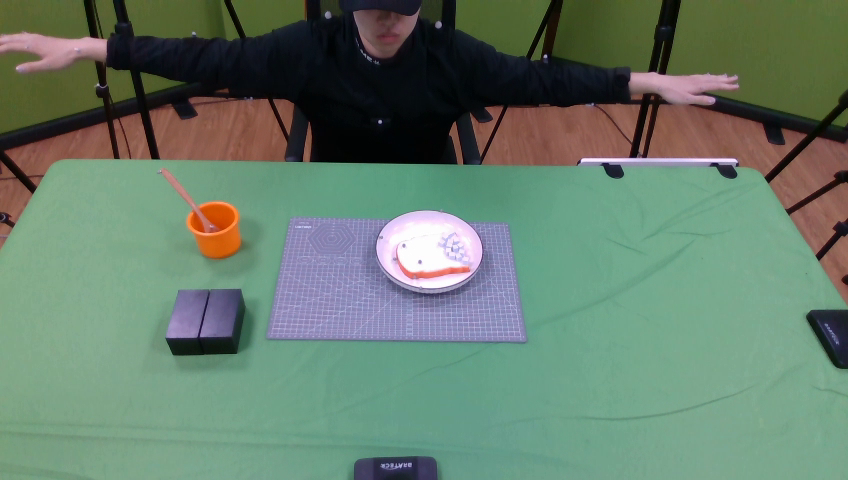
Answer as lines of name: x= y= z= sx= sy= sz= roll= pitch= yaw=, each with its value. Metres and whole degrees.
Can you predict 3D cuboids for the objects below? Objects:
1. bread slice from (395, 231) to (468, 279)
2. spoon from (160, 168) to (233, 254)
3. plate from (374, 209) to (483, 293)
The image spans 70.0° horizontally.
bread slice: x=0.011 y=0.030 z=1.158 sx=0.132 sy=0.019 sz=0.104 roll=-8 pitch=47 yaw=-14
spoon: x=-0.424 y=-0.055 z=1.130 sx=0.041 sy=0.194 sz=0.021 roll=-42 pitch=18 yaw=-31
plate: x=0.009 y=0.024 z=1.160 sx=0.209 sy=0.038 sz=0.208 roll=2 pitch=46 yaw=-2
